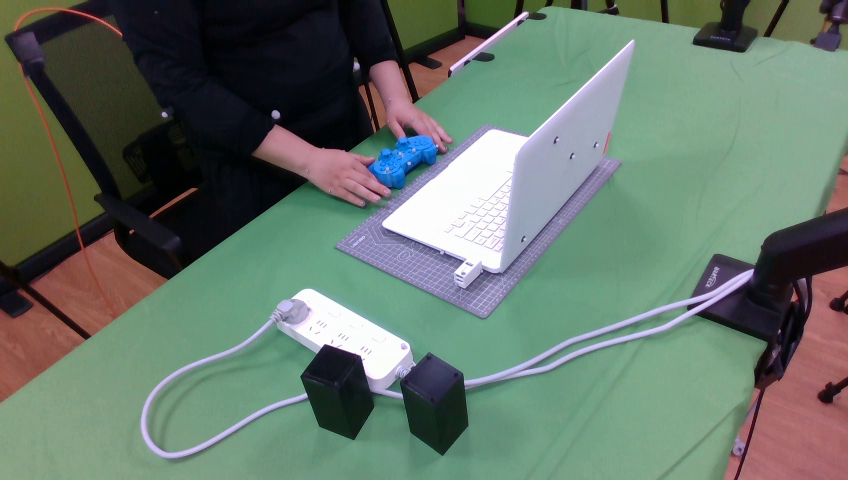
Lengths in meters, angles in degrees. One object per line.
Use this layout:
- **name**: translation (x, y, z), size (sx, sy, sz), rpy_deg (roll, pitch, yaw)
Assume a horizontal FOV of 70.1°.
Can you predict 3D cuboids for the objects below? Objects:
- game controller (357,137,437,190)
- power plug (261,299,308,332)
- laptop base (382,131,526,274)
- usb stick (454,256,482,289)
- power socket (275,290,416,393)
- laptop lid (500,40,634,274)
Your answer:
- **game controller**: translation (-0.046, -0.152, 1.134), size (0.096, 0.052, 0.155), rpy_deg (27, 52, 31)
- **power plug**: translation (-0.193, 0.109, 0.830), size (0.073, 0.053, 0.035), rpy_deg (-35, 47, -24)
- **laptop base**: translation (0.123, -0.081, 1.049), size (0.233, 0.023, 0.355), rpy_deg (20, 47, 33)
- **usb stick**: translation (0.069, 0.044, 0.891), size (0.021, 0.027, 0.059), rpy_deg (22, 44, 32)
- **power socket**: translation (-0.114, 0.132, 0.821), size (0.225, 0.033, 0.072), rpy_deg (24, 48, 32)
- **laptop lid**: translation (0.218, -0.128, 0.906), size (0.013, 0.242, 0.358), rpy_deg (28, 50, 25)
